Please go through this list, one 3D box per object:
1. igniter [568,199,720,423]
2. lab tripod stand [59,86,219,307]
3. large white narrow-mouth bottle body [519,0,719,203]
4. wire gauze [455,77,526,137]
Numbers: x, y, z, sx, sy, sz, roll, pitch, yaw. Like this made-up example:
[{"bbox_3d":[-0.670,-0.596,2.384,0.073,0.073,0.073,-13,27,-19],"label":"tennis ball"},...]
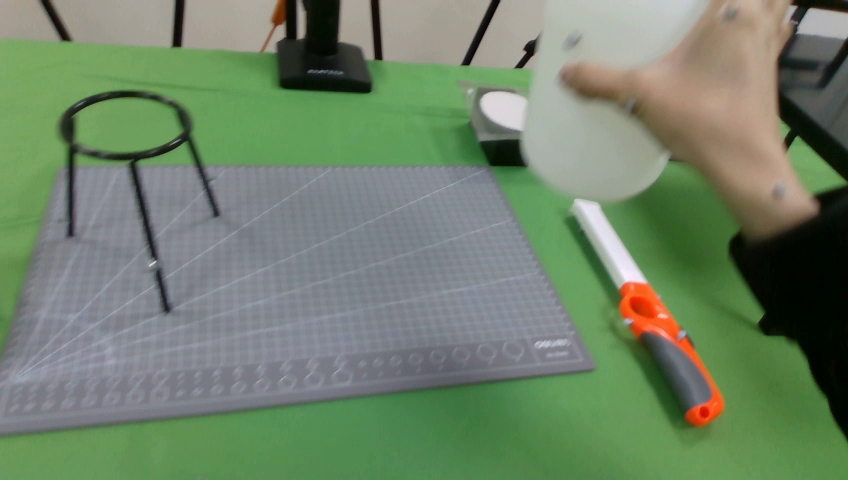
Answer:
[{"bbox_3d":[0.200,0.050,0.574,0.057,0.025,0.273,8,41,-22],"label":"igniter"},{"bbox_3d":[-0.223,-0.040,0.484,0.149,0.132,0.147,9,42,-7],"label":"lab tripod stand"},{"bbox_3d":[0.116,-0.121,0.364,0.102,0.196,0.101,0,49,0],"label":"large white narrow-mouth bottle body"},{"bbox_3d":[0.106,-0.159,0.726,0.122,0.011,0.123,0,43,-17],"label":"wire gauze"}]
